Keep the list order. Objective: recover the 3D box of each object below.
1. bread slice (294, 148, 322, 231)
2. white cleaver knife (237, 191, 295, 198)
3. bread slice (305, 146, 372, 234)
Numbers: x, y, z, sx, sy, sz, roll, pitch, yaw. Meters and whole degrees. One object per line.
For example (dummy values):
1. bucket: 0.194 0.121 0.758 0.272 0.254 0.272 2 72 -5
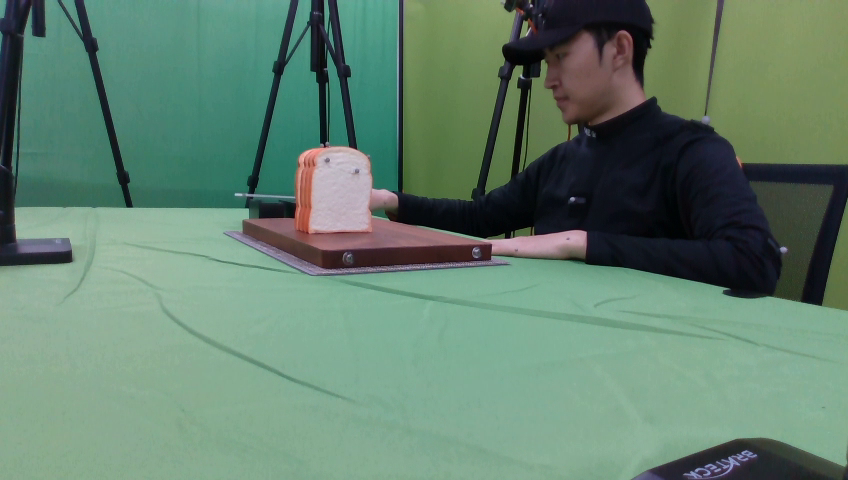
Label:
1. bread slice: -0.158 -0.081 0.970 0.105 0.131 0.019 -1 2 -33
2. white cleaver knife: -0.262 -0.095 1.303 0.288 0.021 0.065 3 2 -42
3. bread slice: -0.131 -0.076 0.924 0.107 0.134 0.018 -6 11 -32
